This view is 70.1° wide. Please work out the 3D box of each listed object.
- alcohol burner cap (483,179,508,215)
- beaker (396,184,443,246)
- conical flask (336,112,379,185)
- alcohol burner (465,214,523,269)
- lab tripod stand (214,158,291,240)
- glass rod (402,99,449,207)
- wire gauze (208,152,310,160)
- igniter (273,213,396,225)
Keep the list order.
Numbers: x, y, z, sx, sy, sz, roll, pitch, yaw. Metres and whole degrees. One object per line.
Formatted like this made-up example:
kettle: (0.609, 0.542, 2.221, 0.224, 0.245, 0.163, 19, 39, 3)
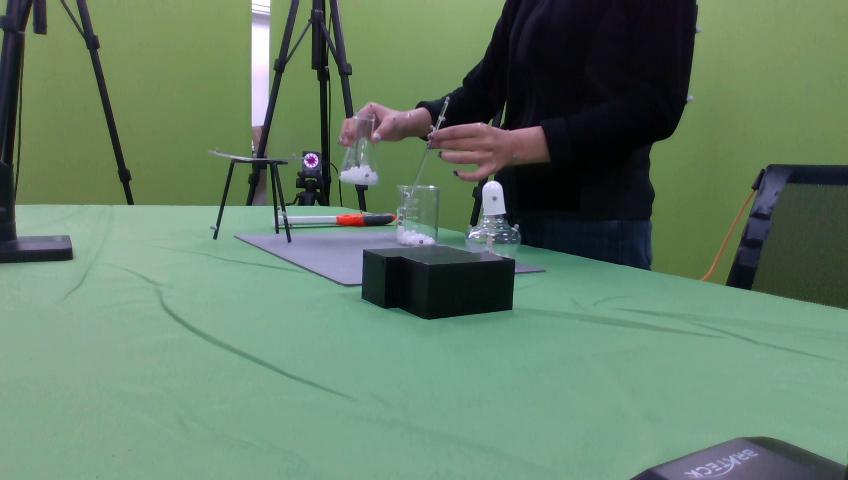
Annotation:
alcohol burner cap: (0.094, -0.057, 0.810, 0.034, 0.048, 0.034, -7, 6, 1)
beaker: (-0.011, -0.043, 1.004, 0.083, 0.100, 0.074, 8, 9, 39)
conical flask: (-0.112, -0.162, 1.063, 0.075, 0.122, 0.075, 7, 12, -1)
alcohol burner: (0.094, -0.022, 0.815, 0.078, 0.119, 0.078, 0, 7, 0)
lab tripod stand: (-0.268, -0.068, 1.002, 0.148, 0.131, 0.148, 3, 6, 0)
glass rod: (0.001, -0.136, 0.973, 0.008, 0.199, 0.008, 18, 30, -11)
wire gauze: (-0.270, -0.135, 0.993, 0.124, 0.011, 0.122, 8, 8, 41)
igniter: (-0.178, -0.044, 1.258, 0.278, 0.025, 0.057, -3, -2, -39)
